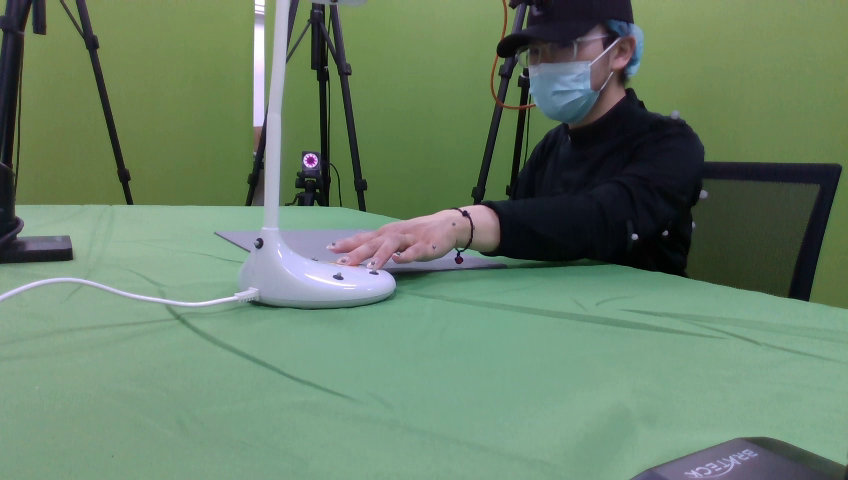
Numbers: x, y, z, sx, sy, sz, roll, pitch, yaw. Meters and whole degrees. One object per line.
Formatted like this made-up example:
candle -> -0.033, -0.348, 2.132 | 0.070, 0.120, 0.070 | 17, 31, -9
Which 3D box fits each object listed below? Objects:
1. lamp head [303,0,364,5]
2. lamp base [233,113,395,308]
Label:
lamp head -> -0.093, -0.314, 0.611 | 0.112, 0.123, 0.112 | -4, 50, 5
lamp base -> -0.112, -0.033, 0.600 | 0.160, 0.180, 0.180 | 7, 11, 28
